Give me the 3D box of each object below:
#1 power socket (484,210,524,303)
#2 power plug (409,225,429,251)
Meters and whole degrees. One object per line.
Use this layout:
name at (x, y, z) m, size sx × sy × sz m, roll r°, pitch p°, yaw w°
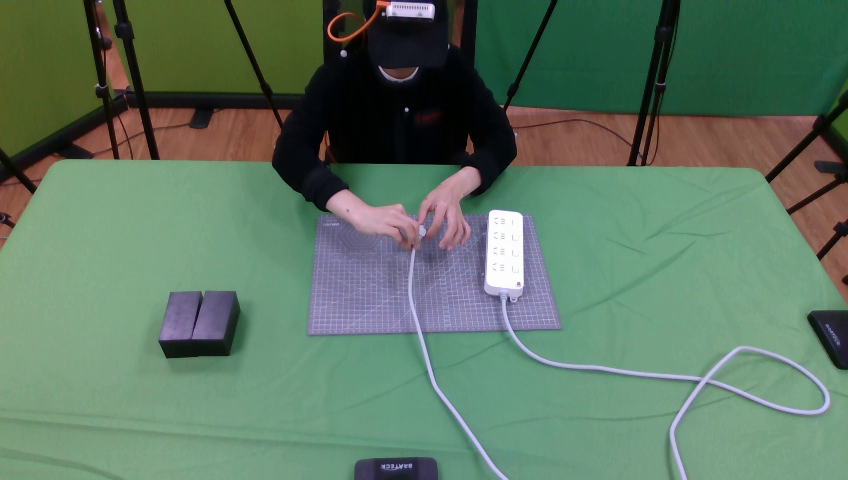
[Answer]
power socket at (0.157, 0.023, 1.175) m, size 0.072 × 0.033 × 0.225 m, roll 6°, pitch 46°, yaw 3°
power plug at (-0.020, -0.002, 1.136) m, size 0.035 × 0.053 × 0.072 m, roll 41°, pitch 57°, yaw 9°
